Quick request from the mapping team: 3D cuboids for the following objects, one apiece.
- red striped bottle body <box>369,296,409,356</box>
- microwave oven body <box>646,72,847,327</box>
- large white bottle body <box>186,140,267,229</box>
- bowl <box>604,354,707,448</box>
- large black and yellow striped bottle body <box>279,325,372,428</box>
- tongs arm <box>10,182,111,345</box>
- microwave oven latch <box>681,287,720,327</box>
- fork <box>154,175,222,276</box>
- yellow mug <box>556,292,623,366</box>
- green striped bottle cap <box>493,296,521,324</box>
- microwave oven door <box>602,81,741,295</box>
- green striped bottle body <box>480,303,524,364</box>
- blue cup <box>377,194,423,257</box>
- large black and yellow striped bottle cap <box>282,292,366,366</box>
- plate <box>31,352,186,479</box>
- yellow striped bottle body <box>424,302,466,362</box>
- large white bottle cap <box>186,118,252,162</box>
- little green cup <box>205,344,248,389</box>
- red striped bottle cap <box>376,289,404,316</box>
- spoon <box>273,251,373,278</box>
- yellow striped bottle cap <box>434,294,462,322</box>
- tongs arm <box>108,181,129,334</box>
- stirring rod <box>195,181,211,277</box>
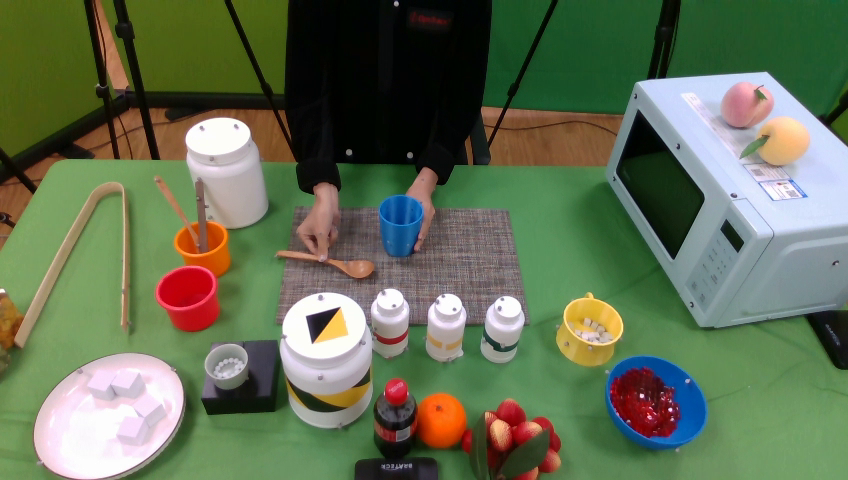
[{"bbox_3d":[-0.059,0.134,0.997,0.063,0.120,0.062,5,48,-5],"label":"red striped bottle body"},{"bbox_3d":[0.607,-0.089,1.164,0.326,0.261,0.438,-7,46,-10],"label":"microwave oven body"},{"bbox_3d":[-0.382,-0.127,1.176,0.131,0.185,0.130,2,46,-2],"label":"large white bottle body"},{"bbox_3d":[0.346,0.261,0.937,0.151,0.077,0.150,2,46,-2],"label":"bowl"},{"bbox_3d":[-0.143,0.181,0.900,0.131,0.185,0.130,2,46,-2],"label":"large black and yellow striped bottle body"},{"bbox_3d":[-0.658,0.027,1.109,0.028,0.028,0.385,-2,45,2],"label":"tongs arm"},{"bbox_3d":[0.494,0.119,1.087,0.030,0.029,0.078,-5,46,-9],"label":"microwave oven latch"},{"bbox_3d":[-0.431,-0.027,1.101,0.028,0.018,0.207,-33,100,-25],"label":"fork"},{"bbox_3d":[0.285,0.145,1.051,0.100,0.064,0.130,7,46,4],"label":"yellow mug"},{"bbox_3d":[0.133,0.111,0.962,0.044,0.020,0.044,2,47,-2],"label":"green striped bottle cap"},{"bbox_3d":[0.456,-0.107,1.162,0.039,0.245,0.353,-7,47,-11],"label":"microwave oven door"},{"bbox_3d":[0.129,0.147,1.000,0.063,0.120,0.063,2,46,-2],"label":"green striped bottle body"},{"bbox_3d":[-0.049,-0.022,1.157,0.093,0.100,0.092,4,45,-4],"label":"blue cup"},{"bbox_3d":[-0.138,0.121,0.841,0.115,0.019,0.114,3,47,-3],"label":"large black and yellow striped bottle cap"},{"bbox_3d":[-0.459,0.262,0.897,0.209,0.038,0.208,2,46,-2],"label":"plate"},{"bbox_3d":[0.035,0.143,0.995,0.063,0.121,0.062,3,46,-3],"label":"yellow striped bottle body"},{"bbox_3d":[-0.377,-0.185,1.115,0.115,0.018,0.114,2,46,-2],"label":"large white bottle cap"},{"bbox_3d":[-0.294,0.191,0.909,0.061,0.039,0.061,1,47,-1],"label":"little green cup"},{"bbox_3d":[-0.055,0.098,0.958,0.044,0.018,0.044,0,48,0],"label":"red striped bottle cap"},{"bbox_3d":[-0.190,0.040,1.138,0.193,0.022,0.041,12,50,5],"label":"spoon"},{"bbox_3d":[0.038,0.107,0.958,0.044,0.019,0.044,2,45,-2],"label":"yellow striped bottle cap"},{"bbox_3d":[-0.571,0.019,1.123,0.051,0.026,0.382,-11,47,-12],"label":"tongs arm"},{"bbox_3d":[-0.403,-0.020,1.104,0.014,0.006,0.176,-6,90,-9],"label":"stirring rod"}]
